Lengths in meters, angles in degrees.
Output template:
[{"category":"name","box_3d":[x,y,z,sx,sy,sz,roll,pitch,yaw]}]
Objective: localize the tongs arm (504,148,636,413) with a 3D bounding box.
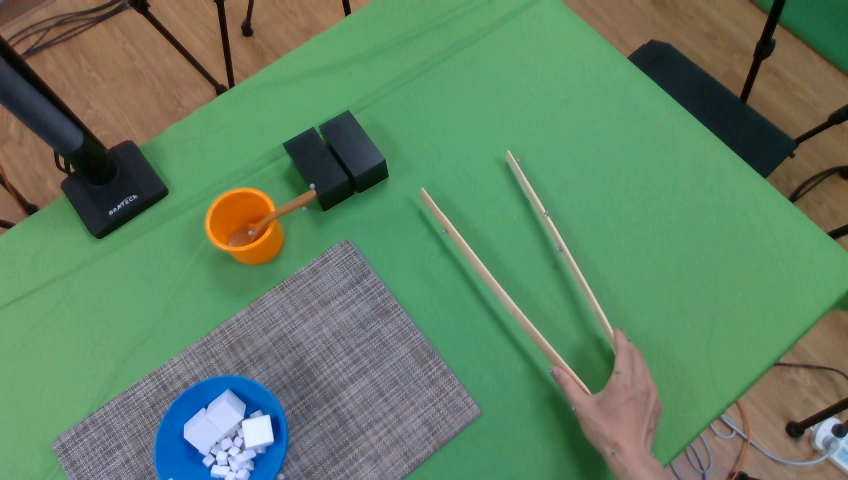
[{"category":"tongs arm","box_3d":[0.174,0.038,0.794,0.051,0.027,0.381,-21,66,-14]}]

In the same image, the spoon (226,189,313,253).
[{"category":"spoon","box_3d":[-0.203,-0.025,0.782,0.022,0.193,0.041,18,59,-38]}]

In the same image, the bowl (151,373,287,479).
[{"category":"bowl","box_3d":[-0.228,0.238,0.712,0.151,0.077,0.150,0,69,1]}]

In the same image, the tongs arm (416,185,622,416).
[{"category":"tongs arm","box_3d":[0.106,0.069,0.776,0.028,0.028,0.384,-31,68,-21]}]
